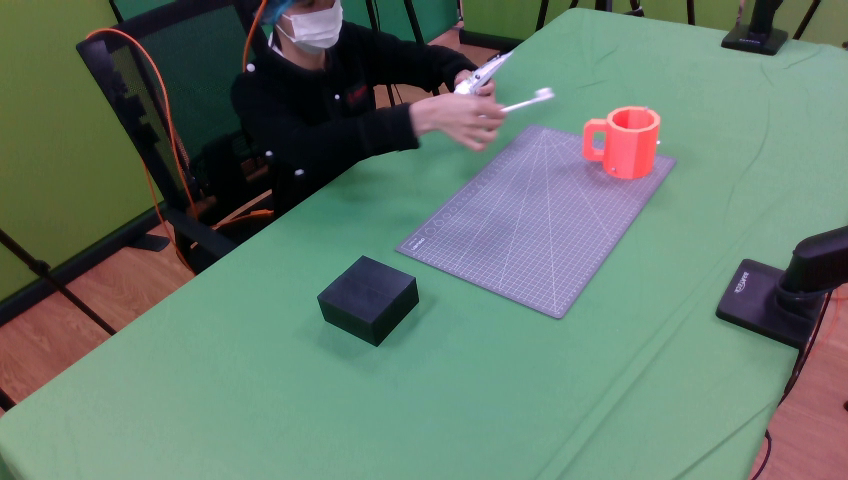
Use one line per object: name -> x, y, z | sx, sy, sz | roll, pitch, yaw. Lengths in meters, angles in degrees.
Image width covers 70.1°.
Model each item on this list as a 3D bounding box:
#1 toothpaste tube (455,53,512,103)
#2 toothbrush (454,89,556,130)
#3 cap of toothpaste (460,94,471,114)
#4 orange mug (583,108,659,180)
toothpaste tube -> 0.109, -0.310, 1.150 | 0.054, 0.035, 0.165 | 1, 41, 46
toothbrush -> 0.130, -0.214, 0.999 | 0.181, 0.017, 0.014 | -14, 32, 26
cap of toothpaste -> 0.074, -0.247, 1.095 | 0.011, 0.037, 0.037 | 11, 43, 23
orange mug -> 0.343, -0.171, 1.061 | 0.126, 0.101, 0.083 | 10, 43, 15
